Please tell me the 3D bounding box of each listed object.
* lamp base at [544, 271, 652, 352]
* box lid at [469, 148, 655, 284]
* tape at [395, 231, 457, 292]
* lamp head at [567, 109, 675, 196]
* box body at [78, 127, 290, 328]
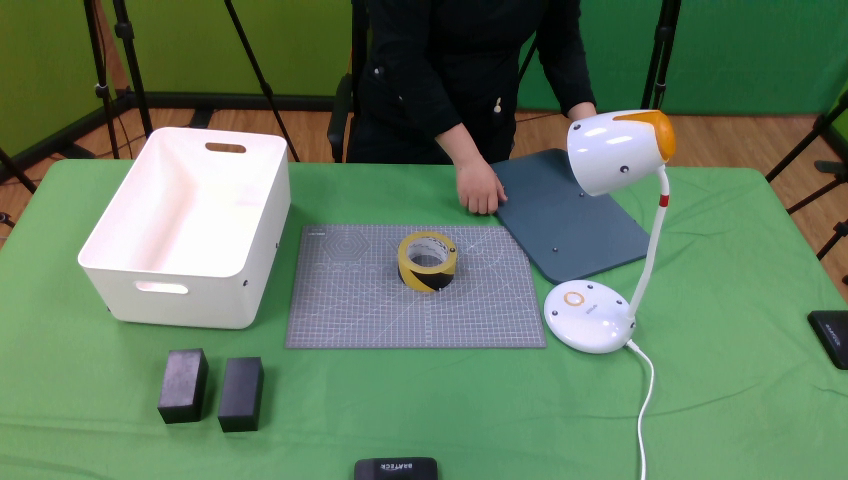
[{"bbox_3d":[0.309,0.086,1.029,0.178,0.181,0.160,32,52,21],"label":"lamp base"},{"bbox_3d":[0.285,-0.064,1.289,0.263,0.015,0.369,-16,49,-20],"label":"box lid"},{"bbox_3d":[0.005,0.039,1.136,0.117,0.053,0.116,2,46,-1],"label":"tape"},{"bbox_3d":[0.272,-0.123,0.818,0.122,0.113,0.112,-9,35,37],"label":"lamp head"},{"bbox_3d":[-0.400,-0.026,1.095,0.254,0.161,0.362,4,46,0],"label":"box body"}]
